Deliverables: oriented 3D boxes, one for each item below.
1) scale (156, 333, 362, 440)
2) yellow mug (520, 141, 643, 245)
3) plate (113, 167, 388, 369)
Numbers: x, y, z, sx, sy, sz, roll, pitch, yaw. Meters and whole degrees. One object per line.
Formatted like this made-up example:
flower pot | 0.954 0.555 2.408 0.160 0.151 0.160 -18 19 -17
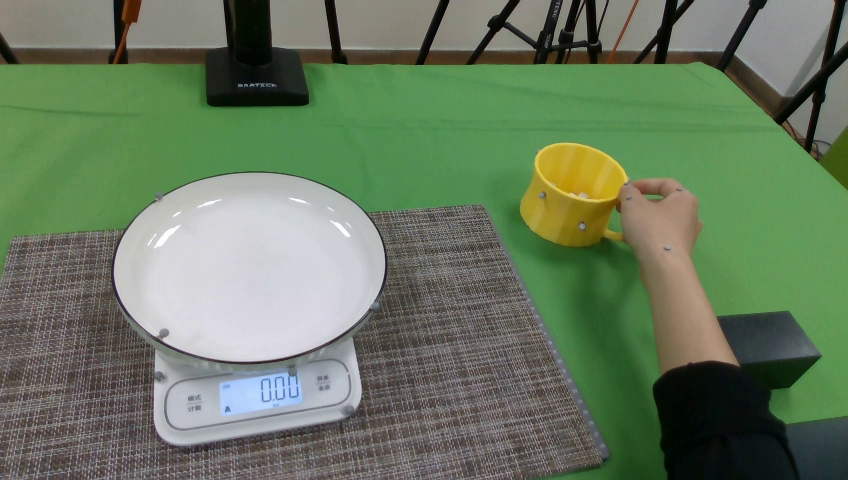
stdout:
scale | -0.138 0.059 0.499 0.149 0.032 0.198 -5 47 -16
yellow mug | 0.173 -0.044 0.649 0.130 0.064 0.100 32 47 18
plate | -0.135 0.019 0.492 0.209 0.038 0.207 6 45 -6
